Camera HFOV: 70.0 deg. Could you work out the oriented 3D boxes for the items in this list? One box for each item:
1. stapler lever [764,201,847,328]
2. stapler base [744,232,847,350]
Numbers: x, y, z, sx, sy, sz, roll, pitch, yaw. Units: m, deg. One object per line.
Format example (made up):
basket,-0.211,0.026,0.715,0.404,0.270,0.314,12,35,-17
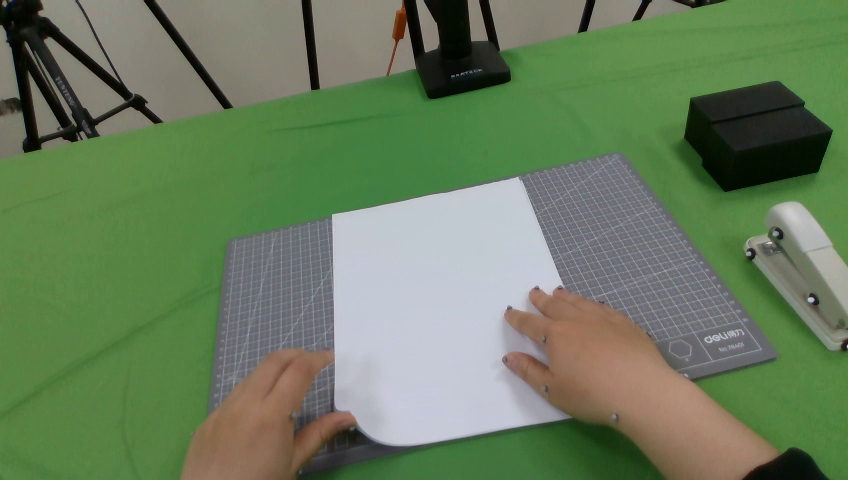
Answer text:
stapler lever,0.317,0.015,0.485,0.027,0.040,0.116,-15,44,-1
stapler base,0.320,0.032,0.504,0.041,0.025,0.129,-15,44,-1
